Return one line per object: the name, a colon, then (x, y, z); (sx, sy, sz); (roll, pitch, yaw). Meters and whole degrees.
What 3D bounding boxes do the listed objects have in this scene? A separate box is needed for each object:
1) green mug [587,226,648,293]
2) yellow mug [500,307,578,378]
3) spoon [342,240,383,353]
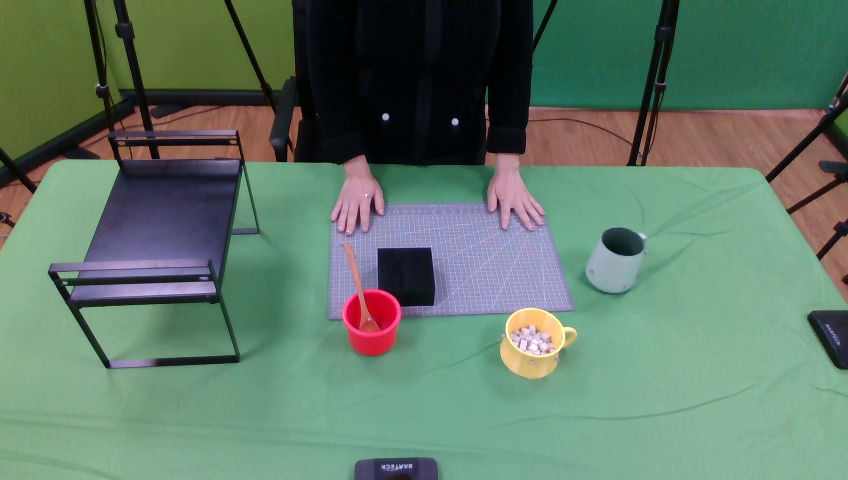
green mug: (0.371, 0.030, 1.136); (0.125, 0.105, 0.092); (-27, 53, -27)
yellow mug: (0.197, 0.169, 1.018); (0.131, 0.064, 0.099); (-7, 47, -12)
spoon: (-0.106, 0.094, 1.014); (0.041, 0.021, 0.193); (-14, 93, -11)
